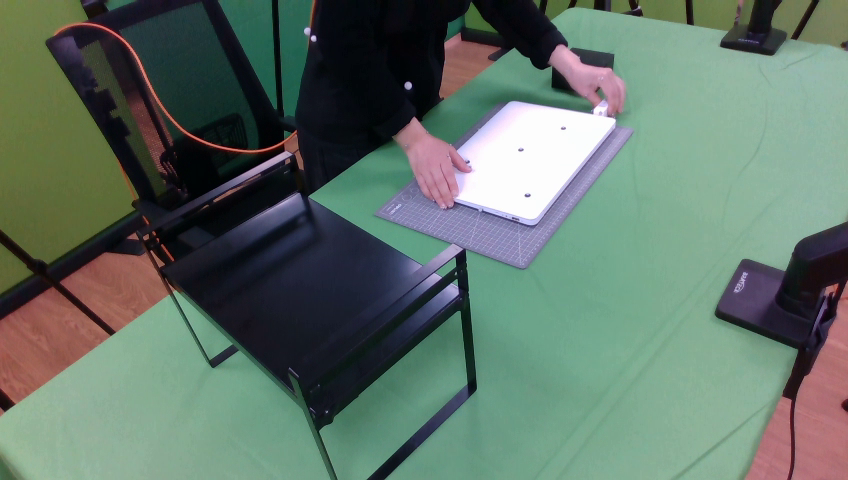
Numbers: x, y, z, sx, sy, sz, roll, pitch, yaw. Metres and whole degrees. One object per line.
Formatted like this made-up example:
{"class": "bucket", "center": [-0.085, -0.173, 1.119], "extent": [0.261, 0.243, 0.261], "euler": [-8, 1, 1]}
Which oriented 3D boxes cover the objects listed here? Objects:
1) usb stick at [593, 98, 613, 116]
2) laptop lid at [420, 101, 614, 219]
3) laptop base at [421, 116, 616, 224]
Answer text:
{"class": "usb stick", "center": [0.352, -0.255, 1.201], "extent": [0.021, 0.027, 0.059], "euler": [24, 57, 28]}
{"class": "laptop lid", "center": [0.181, -0.165, 1.125], "extent": [0.240, 0.013, 0.357], "euler": [20, 47, 31]}
{"class": "laptop base", "center": [0.184, -0.156, 1.131], "extent": [0.234, 0.023, 0.355], "euler": [17, 46, 31]}
